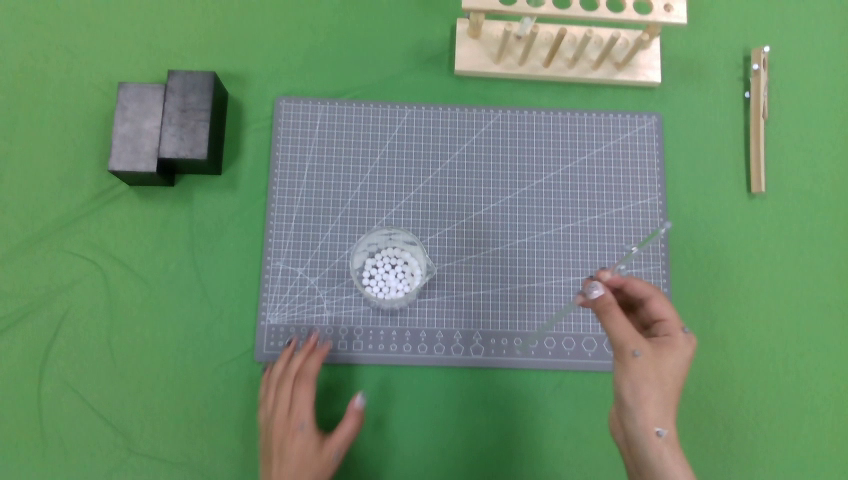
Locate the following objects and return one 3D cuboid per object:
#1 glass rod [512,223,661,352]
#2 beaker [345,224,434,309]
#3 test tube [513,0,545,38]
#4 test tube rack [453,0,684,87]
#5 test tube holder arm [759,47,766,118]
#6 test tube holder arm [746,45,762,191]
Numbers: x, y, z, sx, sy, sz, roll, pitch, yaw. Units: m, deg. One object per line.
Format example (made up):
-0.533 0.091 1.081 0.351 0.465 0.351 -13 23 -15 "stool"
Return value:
0.129 0.048 0.512 0.008 0.200 0.008 18 47 -19 "glass rod"
-0.034 0.032 0.615 0.084 0.100 0.073 6 78 -1 "beaker"
0.122 -0.259 0.641 0.017 0.150 0.017 2 76 -8 "test tube"
0.157 -0.231 0.687 0.242 0.085 0.066 3 78 -2 "test tube rack"
0.399 -0.187 0.722 0.010 0.015 0.087 15 77 -29 "test tube holder arm"
0.388 -0.144 0.711 0.013 0.015 0.177 14 77 -29 "test tube holder arm"
